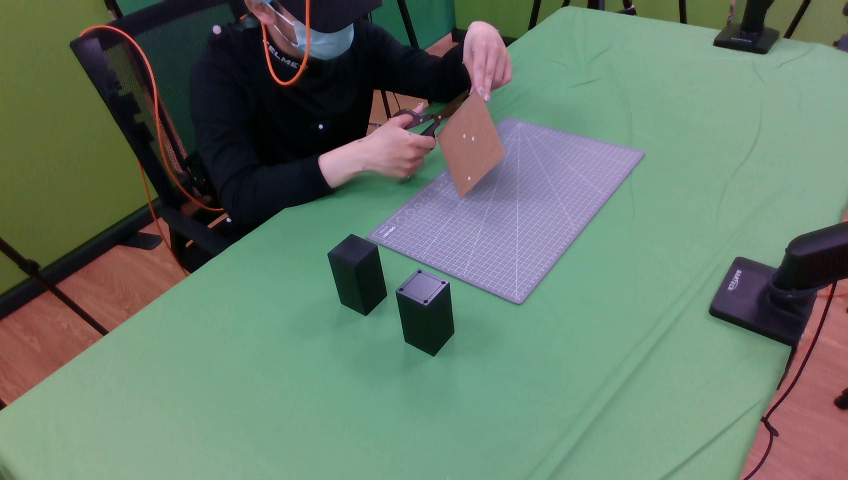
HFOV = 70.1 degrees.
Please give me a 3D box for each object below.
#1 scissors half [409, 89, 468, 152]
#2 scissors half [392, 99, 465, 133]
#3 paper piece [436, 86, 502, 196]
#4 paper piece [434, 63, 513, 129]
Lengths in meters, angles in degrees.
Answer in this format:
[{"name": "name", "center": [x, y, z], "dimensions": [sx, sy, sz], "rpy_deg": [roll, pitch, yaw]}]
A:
[{"name": "scissors half", "center": [0.027, -0.208, 1.063], "dimensions": [0.040, 0.174, 0.013], "rpy_deg": [36, 48, -8]}, {"name": "scissors half", "center": [0.012, -0.224, 1.056], "dimensions": [0.174, 0.040, 0.013], "rpy_deg": [-10, 40, 34]}, {"name": "paper piece", "center": [0.072, -0.164, 1.017], "dimensions": [0.004, 0.135, 0.135], "rpy_deg": [-4, 65, -33]}, {"name": "paper piece", "center": [0.090, -0.259, 1.092], "dimensions": [0.008, 0.135, 0.138], "rpy_deg": [52, 47, -1]}]
